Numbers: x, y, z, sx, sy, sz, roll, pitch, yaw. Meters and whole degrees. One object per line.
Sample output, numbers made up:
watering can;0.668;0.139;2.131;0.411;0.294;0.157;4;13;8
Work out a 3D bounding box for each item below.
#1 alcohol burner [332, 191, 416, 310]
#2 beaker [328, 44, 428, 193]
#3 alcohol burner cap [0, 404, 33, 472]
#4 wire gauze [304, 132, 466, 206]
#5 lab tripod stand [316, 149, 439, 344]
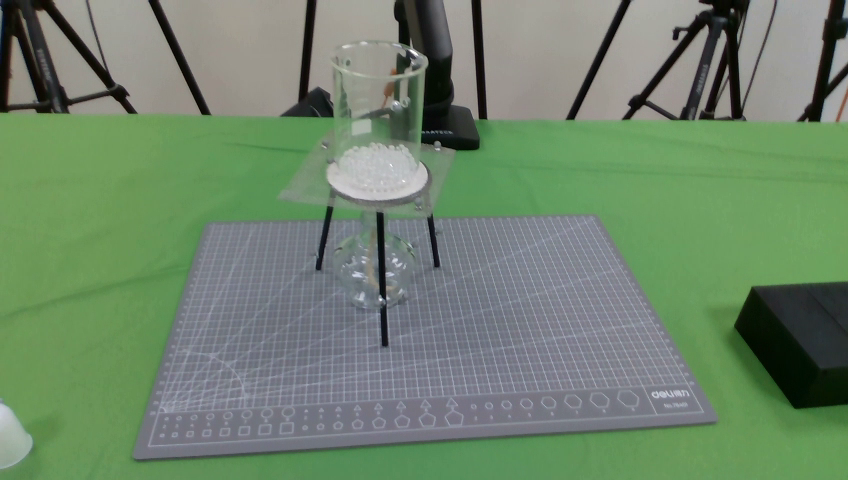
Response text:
alcohol burner;-0.045;0.006;0.556;0.078;0.120;0.077;4;36;-2
beaker;-0.034;-0.096;0.486;0.084;0.101;0.073;-26;47;-34
alcohol burner cap;-0.300;0.136;0.424;0.034;0.048;0.033;4;36;-2
wire gauze;-0.034;-0.064;0.497;0.125;0.011;0.120;2;33;-11
lab tripod stand;-0.038;-0.002;0.551;0.148;0.132;0.147;4;37;-3
